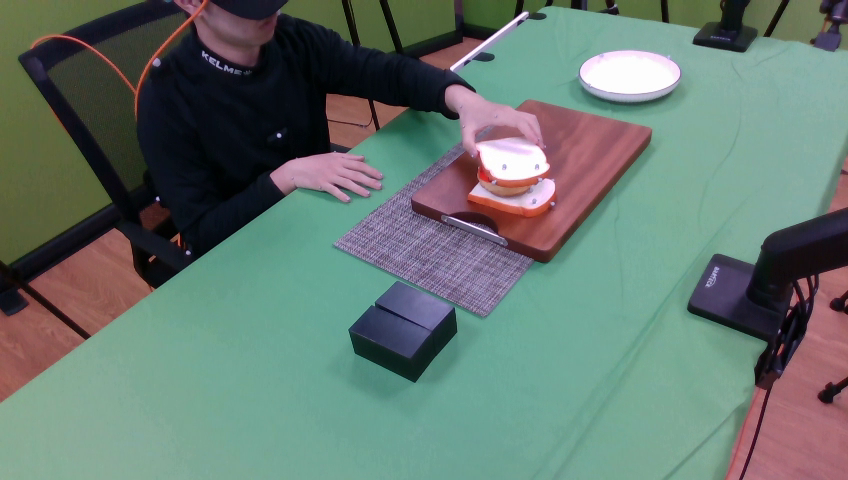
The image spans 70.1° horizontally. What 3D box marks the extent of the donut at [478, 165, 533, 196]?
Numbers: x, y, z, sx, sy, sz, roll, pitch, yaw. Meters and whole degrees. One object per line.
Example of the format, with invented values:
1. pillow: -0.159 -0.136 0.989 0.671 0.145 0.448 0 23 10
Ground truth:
1. donut: 0.137 -0.109 0.990 0.099 0.048 0.098 -4 38 3

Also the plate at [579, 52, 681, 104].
1. plate: 0.437 -0.343 1.294 0.209 0.038 0.208 -4 40 4

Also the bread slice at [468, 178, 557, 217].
1. bread slice: 0.154 -0.082 1.004 0.130 0.019 0.105 18 47 29

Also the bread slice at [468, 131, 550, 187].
1. bread slice: 0.142 -0.129 0.962 0.107 0.018 0.133 -13 40 -9
